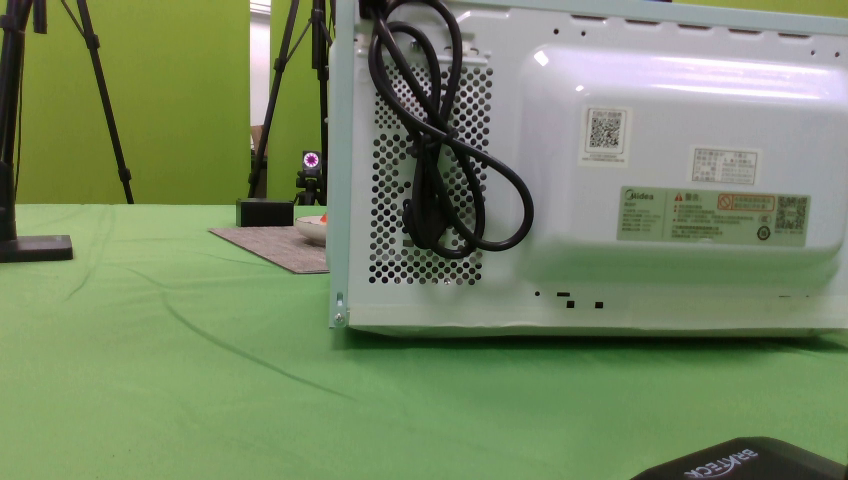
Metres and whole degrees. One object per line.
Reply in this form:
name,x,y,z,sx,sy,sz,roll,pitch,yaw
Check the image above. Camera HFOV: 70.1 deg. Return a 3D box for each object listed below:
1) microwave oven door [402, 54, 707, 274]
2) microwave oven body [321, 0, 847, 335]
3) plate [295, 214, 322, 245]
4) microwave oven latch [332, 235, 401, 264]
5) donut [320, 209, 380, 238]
microwave oven door,0.157,-0.085,0.717,0.357,0.243,0.039,1,8,-8
microwave oven body,0.133,-0.062,0.568,0.443,0.260,0.325,2,7,-8
plate,-0.107,-0.016,0.997,0.209,0.038,0.209,2,7,0
microwave oven latch,-0.066,0.010,0.701,0.079,0.029,0.030,2,7,-8
donut,-0.121,-0.027,0.996,0.099,0.048,0.099,2,5,0
